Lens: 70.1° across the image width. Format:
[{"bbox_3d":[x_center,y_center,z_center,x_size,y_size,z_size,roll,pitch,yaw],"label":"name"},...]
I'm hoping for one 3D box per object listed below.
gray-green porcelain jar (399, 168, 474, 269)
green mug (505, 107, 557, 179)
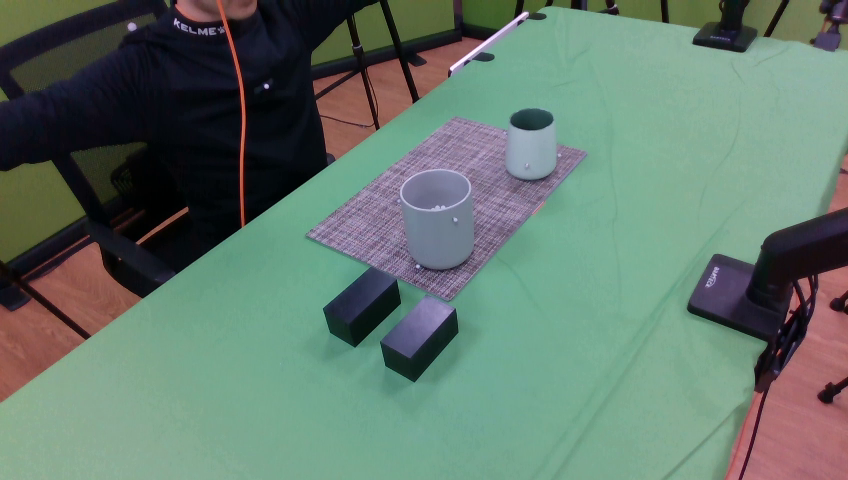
[{"bbox_3d":[0.022,-0.027,0.911,0.106,0.127,0.105,-4,41,4],"label":"gray-green porcelain jar"},{"bbox_3d":[0.189,-0.180,1.082,0.092,0.105,0.124,-6,41,2],"label":"green mug"}]
